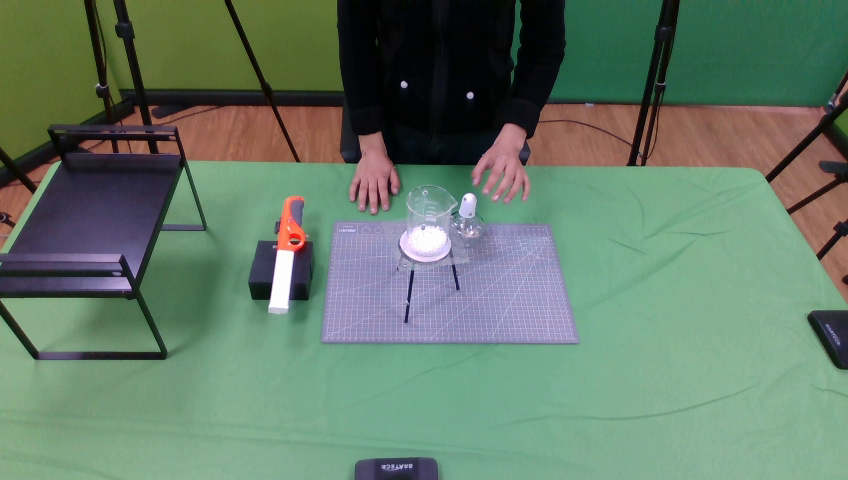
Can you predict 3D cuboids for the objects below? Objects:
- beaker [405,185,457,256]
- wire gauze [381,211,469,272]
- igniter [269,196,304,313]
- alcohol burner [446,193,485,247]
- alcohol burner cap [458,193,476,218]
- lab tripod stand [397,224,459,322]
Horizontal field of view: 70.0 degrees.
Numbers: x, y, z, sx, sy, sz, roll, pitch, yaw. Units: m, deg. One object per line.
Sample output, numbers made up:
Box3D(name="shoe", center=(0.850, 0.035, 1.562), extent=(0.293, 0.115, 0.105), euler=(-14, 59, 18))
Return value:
Box3D(name="beaker", center=(0.009, -0.029, 0.988), extent=(0.084, 0.101, 0.073), euler=(-1, 48, -5))
Box3D(name="wire gauze", center=(0.000, 0.001, 1.024), extent=(0.125, 0.011, 0.120), euler=(-11, 48, -12))
Box3D(name="igniter", center=(-0.249, 0.016, 1.095), extent=(0.057, 0.025, 0.274), euler=(8, 46, -13))
Box3D(name="alcohol burner", center=(0.081, -0.043, 1.179), extent=(0.078, 0.120, 0.077), euler=(2, 45, -1))
Box3D(name="alcohol burner cap", center=(0.084, -0.068, 1.153), extent=(0.034, 0.048, 0.033), euler=(4, 43, -3))
Box3D(name="lab tripod stand", center=(-0.003, 0.052, 1.067), extent=(0.148, 0.132, 0.147), euler=(3, 48, -3))
